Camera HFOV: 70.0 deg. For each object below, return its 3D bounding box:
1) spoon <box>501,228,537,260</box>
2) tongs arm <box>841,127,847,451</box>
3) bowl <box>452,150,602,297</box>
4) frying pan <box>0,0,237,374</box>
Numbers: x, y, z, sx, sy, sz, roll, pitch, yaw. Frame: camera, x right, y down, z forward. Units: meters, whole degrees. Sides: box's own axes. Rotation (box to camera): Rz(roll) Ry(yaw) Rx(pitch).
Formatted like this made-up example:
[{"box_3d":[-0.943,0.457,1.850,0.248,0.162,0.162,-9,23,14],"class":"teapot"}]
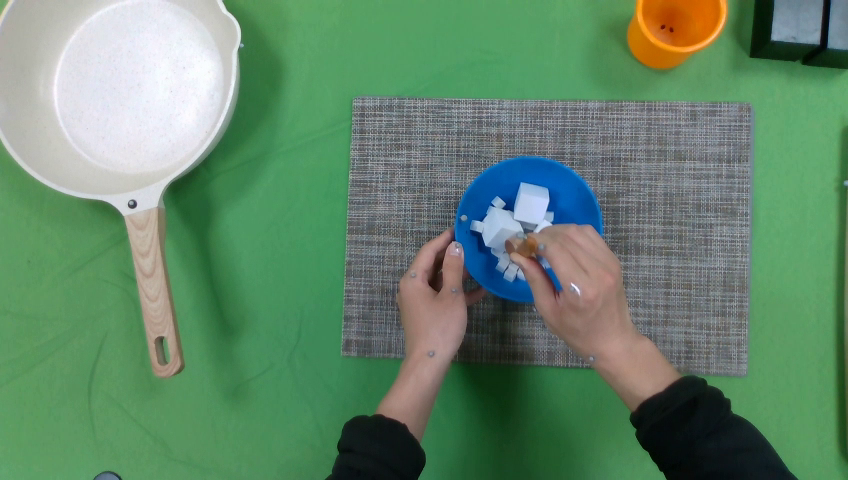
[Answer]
[{"box_3d":[0.089,0.005,0.554,0.041,0.194,0.021,43,94,6],"class":"spoon"},{"box_3d":[0.466,0.053,0.649,0.028,0.028,0.387,1,88,3],"class":"tongs arm"},{"box_3d":[0.107,-0.015,0.648,0.151,0.077,0.151,0,88,4],"class":"bowl"},{"box_3d":[-0.324,-0.091,0.674,0.307,0.103,0.485,-15,78,5],"class":"frying pan"}]
